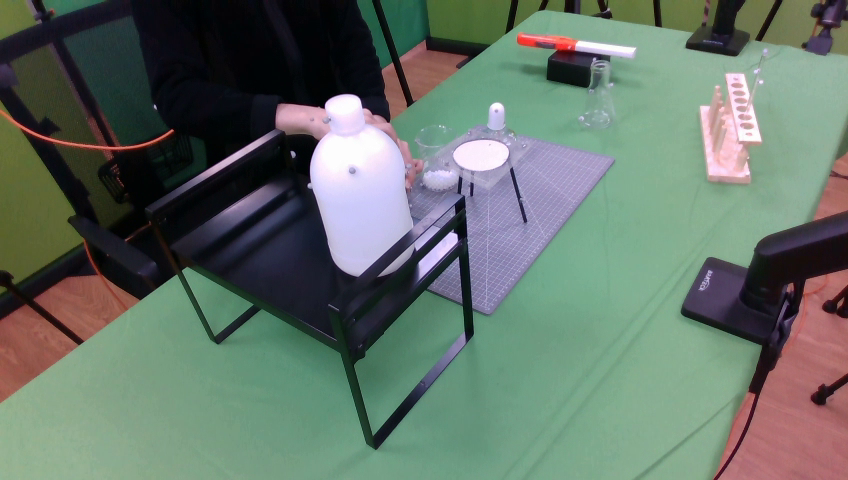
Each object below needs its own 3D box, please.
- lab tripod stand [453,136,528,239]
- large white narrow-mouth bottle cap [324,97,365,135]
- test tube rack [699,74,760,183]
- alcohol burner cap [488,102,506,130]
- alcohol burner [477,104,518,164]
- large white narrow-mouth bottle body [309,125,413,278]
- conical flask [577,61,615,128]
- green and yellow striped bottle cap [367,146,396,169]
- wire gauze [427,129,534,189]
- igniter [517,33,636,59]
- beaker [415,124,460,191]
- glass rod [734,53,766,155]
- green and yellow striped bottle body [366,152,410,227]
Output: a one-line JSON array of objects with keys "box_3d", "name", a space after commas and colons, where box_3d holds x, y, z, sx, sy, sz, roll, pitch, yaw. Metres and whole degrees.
[{"box_3d": [0.095, -0.086, 0.974, 0.148, 0.132, 0.147, -4, 43, 4], "name": "lab tripod stand"}, {"box_3d": [-0.076, -0.120, 0.585, 0.038, 0.024, 0.037, -3, 42, 3], "name": "large white narrow-mouth bottle cap"}, {"box_3d": [0.547, -0.208, 1.095, 0.066, 0.085, 0.242, 6, 42, 16], "name": "test tube rack"}, {"box_3d": [0.133, -0.227, 1.092, 0.034, 0.048, 0.033, -1, 47, 2], "name": "alcohol burner cap"}, {"box_3d": [0.135, -0.200, 1.117, 0.078, 0.119, 0.077, -4, 43, 4], "name": "alcohol burner"}, {"box_3d": [-0.068, -0.057, 0.644, 0.102, 0.195, 0.101, -3, 42, 4], "name": "large white narrow-mouth bottle body"}, {"box_3d": [0.343, -0.288, 1.188, 0.075, 0.122, 0.075, -4, 41, 4], "name": "conical flask"}, {"box_3d": [-0.068, -0.132, 0.965, 0.045, 0.020, 0.045, -6, 36, 5], "name": "green and yellow striped bottle cap"}, {"box_3d": [0.086, -0.131, 0.924, 0.124, 0.011, 0.122, 26, 52, 33], "name": "wire gauze"}, {"box_3d": [0.336, -0.441, 1.369, 0.275, 0.025, 0.057, 16, 41, 23], "name": "igniter"}, {"box_3d": [0.027, -0.147, 1.081, 0.073, 0.100, 0.084, 12, 43, 21], "name": "beaker"}, {"box_3d": [0.540, -0.220, 1.007, 0.008, 0.201, 0.008, -5, 45, 6], "name": "glass rod"}, {"box_3d": [-0.060, -0.085, 1.005, 0.063, 0.120, 0.063, -4, 40, 4], "name": "green and yellow striped bottle body"}]
